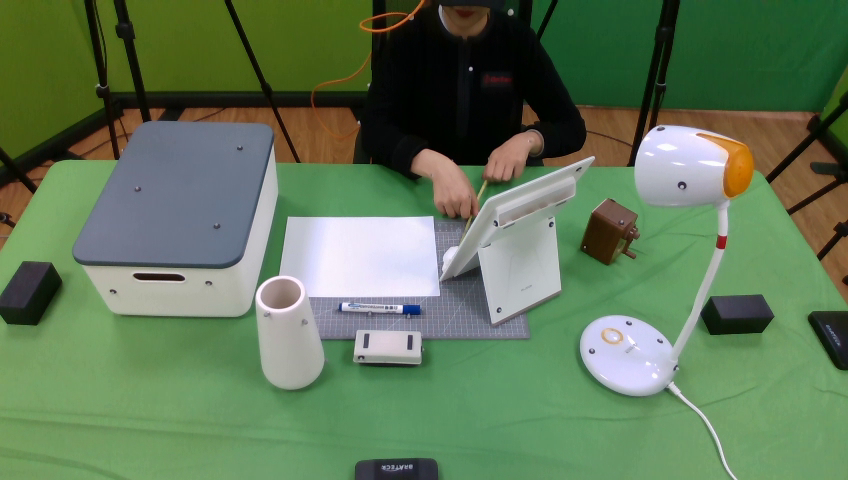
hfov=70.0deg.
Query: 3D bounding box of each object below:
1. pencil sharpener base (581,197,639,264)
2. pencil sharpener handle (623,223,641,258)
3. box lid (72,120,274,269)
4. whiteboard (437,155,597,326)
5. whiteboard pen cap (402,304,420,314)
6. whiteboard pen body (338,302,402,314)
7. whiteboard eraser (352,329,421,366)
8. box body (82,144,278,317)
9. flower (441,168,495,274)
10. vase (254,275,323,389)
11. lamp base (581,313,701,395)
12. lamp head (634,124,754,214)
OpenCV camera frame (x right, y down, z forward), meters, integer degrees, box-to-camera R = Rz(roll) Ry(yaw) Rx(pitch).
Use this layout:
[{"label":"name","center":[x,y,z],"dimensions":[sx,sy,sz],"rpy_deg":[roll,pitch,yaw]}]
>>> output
[{"label":"pencil sharpener base","center":[0.362,-0.016,1.178],"dimensions":[0.076,0.107,0.061],"rpy_deg":[35,53,26]},{"label":"pencil sharpener handle","center":[0.399,0.002,1.146],"dimensions":[0.030,0.068,0.036],"rpy_deg":[35,45,26]},{"label":"box lid","center":[-0.417,-0.094,1.056],"dimensions":[0.263,0.015,0.369],"rpy_deg":[1,47,-3]},{"label":"whiteboard","center":[0.180,0.023,1.029],"dimensions":[0.217,0.306,0.143],"rpy_deg":[-21,71,-23]},{"label":"whiteboard pen cap","center":[-0.024,0.123,1.076],"dimensions":[0.033,0.018,0.018],"rpy_deg":[1,46,1]},{"label":"whiteboard pen body","center":[-0.083,0.121,1.074],"dimensions":[0.141,0.017,0.017],"rpy_deg":[3,46,-2]},{"label":"whiteboard eraser","center":[-0.061,0.180,1.005],"dimensions":[0.113,0.042,0.055],"rpy_deg":[3,48,-3]},{"label":"box body","center":[-0.421,-0.041,1.108],"dimensions":[0.254,0.161,0.361],"rpy_deg":[2,46,-3]},{"label":"flower","center":[0.102,-0.055,1.256],"dimensions":[0.038,0.044,0.360],"rpy_deg":[6,39,19]},{"label":"vase","center":[-0.209,0.143,0.921],"dimensions":[0.098,0.201,0.097],"rpy_deg":[1,46,-1]},{"label":"lamp base","center":[0.361,0.144,0.972],"dimensions":[0.178,0.181,0.160],"rpy_deg":[34,53,23]},{"label":"lamp head","center":[0.351,-0.089,0.776],"dimensions":[0.112,0.113,0.122],"rpy_deg":[-30,30,-28]}]
